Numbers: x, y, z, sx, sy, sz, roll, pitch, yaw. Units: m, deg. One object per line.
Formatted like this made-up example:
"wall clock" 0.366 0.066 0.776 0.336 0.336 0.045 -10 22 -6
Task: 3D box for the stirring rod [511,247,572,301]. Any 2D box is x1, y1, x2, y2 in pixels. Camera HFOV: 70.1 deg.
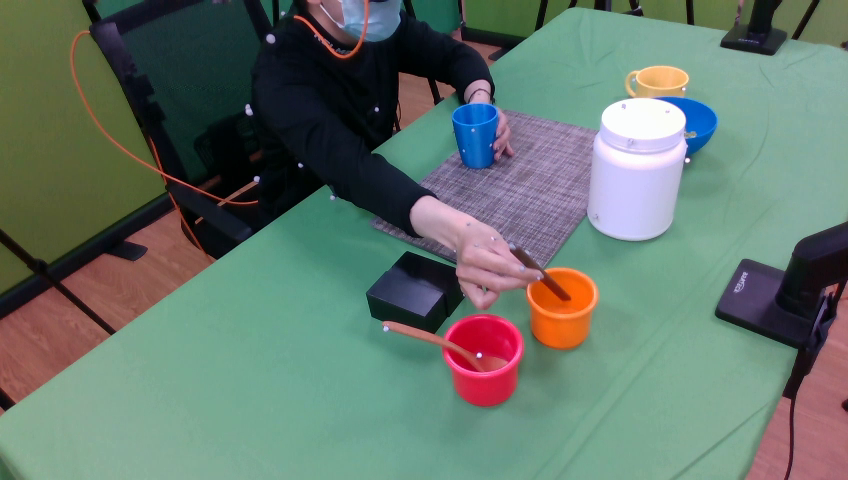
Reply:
"stirring rod" 0.148 0.045 0.745 0.014 0.178 0.006 -14 59 28

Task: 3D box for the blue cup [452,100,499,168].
"blue cup" 0.099 -0.190 1.118 0.092 0.101 0.092 -6 40 5

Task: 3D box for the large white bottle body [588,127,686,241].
"large white bottle body" 0.324 -0.105 0.926 0.130 0.185 0.130 -5 41 4

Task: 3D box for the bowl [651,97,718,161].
"bowl" 0.439 -0.186 1.087 0.151 0.077 0.150 -4 41 4

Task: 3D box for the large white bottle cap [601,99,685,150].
"large white bottle cap" 0.315 -0.168 0.870 0.115 0.018 0.114 -4 41 4

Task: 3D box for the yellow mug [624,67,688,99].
"yellow mug" 0.465 -0.305 1.230 0.100 0.064 0.129 -34 46 -27

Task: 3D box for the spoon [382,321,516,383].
"spoon" 0.033 0.131 0.726 0.195 0.021 0.041 29 30 -26
